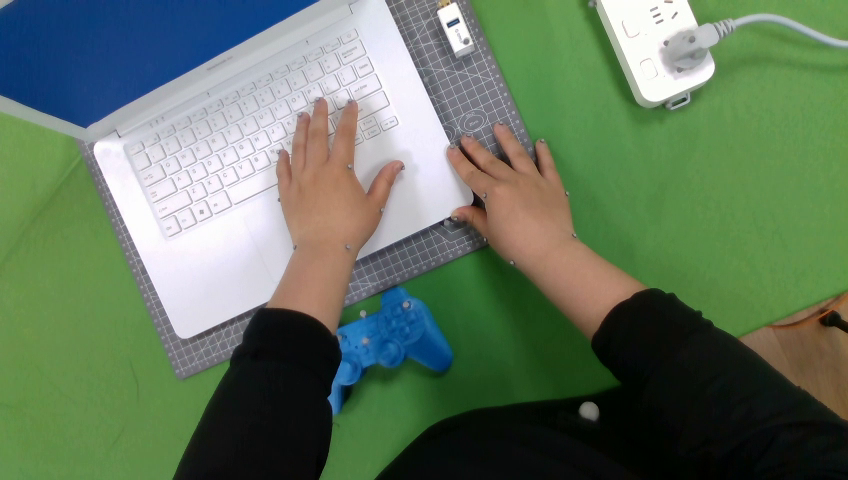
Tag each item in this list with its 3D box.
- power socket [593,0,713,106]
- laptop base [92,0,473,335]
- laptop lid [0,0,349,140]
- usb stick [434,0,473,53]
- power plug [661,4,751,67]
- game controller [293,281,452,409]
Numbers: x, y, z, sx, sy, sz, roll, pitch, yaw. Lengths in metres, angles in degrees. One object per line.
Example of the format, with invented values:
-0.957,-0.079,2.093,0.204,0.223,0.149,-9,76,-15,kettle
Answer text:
0.197,-0.235,0.568,0.072,0.032,0.226,-23,89,9,power socket
-0.153,-0.074,0.632,0.354,0.023,0.235,-25,92,8,laptop base
-0.228,-0.193,0.518,0.356,0.242,0.013,-25,80,10,laptop lid
0.026,-0.216,0.593,0.021,0.027,0.059,-25,87,12,usb stick
0.251,-0.178,0.543,0.072,0.052,0.035,-12,90,4,power plug
-0.058,0.107,0.615,0.155,0.052,0.097,-24,85,8,game controller
